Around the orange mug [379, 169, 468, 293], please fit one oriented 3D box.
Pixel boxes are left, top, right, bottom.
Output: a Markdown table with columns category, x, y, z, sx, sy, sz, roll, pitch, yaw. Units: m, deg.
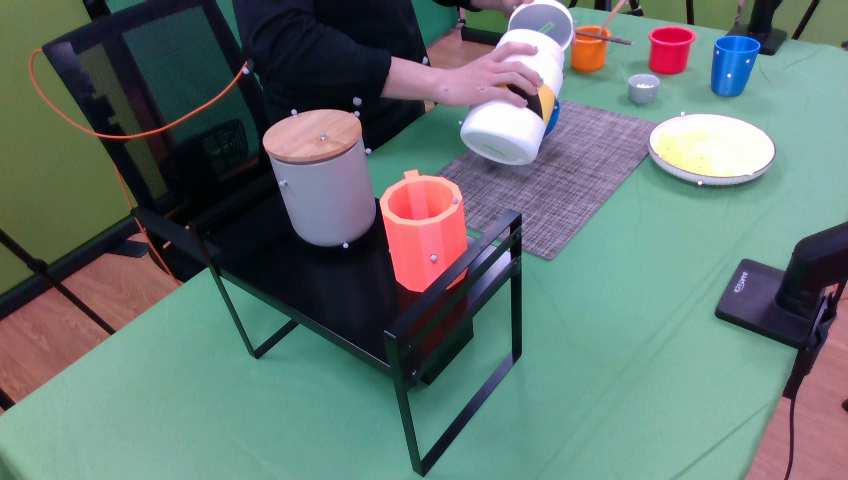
| category | x | y | z | sx | sy | sz | roll | pitch | yaw |
| --- | --- | --- | --- | --- | --- | --- | --- | --- | --- |
| orange mug | -0.002 | -0.019 | 0.665 | 0.083 | 0.101 | 0.125 | -12 | 45 | -4 |

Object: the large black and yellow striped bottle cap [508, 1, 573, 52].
| category | x | y | z | sx | sy | sz | roll | pitch | yaw |
| --- | --- | --- | --- | --- | --- | --- | --- | --- | --- |
| large black and yellow striped bottle cap | 0.208 | -0.372 | 1.081 | 0.114 | 0.115 | 0.018 | 4 | 55 | 13 |

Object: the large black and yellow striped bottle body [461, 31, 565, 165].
| category | x | y | z | sx | sy | sz | roll | pitch | yaw |
| --- | --- | --- | --- | --- | --- | --- | --- | --- | --- |
| large black and yellow striped bottle body | 0.149 | -0.230 | 0.984 | 0.130 | 0.132 | 0.183 | 16 | 80 | 26 |

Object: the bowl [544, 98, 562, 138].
| category | x | y | z | sx | sy | sz | roll | pitch | yaw |
| --- | --- | --- | --- | --- | --- | --- | --- | --- | --- |
| bowl | 0.187 | -0.223 | 1.161 | 0.151 | 0.077 | 0.150 | -4 | 40 | 4 |

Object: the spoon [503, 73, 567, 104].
| category | x | y | z | sx | sy | sz | roll | pitch | yaw |
| --- | --- | --- | --- | --- | --- | --- | --- | --- | --- |
| spoon | 0.250 | -0.336 | 1.332 | 0.194 | 0.022 | 0.041 | -32 | 32 | -25 |

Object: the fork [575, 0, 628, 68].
| category | x | y | z | sx | sy | sz | roll | pitch | yaw |
| --- | --- | --- | --- | --- | --- | --- | --- | --- | --- |
| fork | 0.413 | -0.481 | 1.377 | 0.207 | 0.019 | 0.028 | -57 | 43 | 12 |

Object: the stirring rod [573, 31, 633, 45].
| category | x | y | z | sx | sy | sz | roll | pitch | yaw |
| --- | --- | --- | --- | --- | --- | --- | --- | --- | --- |
| stirring rod | 0.381 | -0.452 | 1.345 | 0.174 | 0.006 | 0.014 | 25 | 49 | 33 |

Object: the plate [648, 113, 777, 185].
| category | x | y | z | sx | sy | sz | roll | pitch | yaw |
| --- | --- | --- | --- | --- | --- | --- | --- | --- | --- |
| plate | 0.506 | -0.158 | 1.073 | 0.209 | 0.038 | 0.208 | -5 | 40 | 4 |

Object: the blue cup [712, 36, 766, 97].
| category | x | y | z | sx | sy | sz | roll | pitch | yaw |
| --- | --- | --- | --- | --- | --- | --- | --- | --- | --- |
| blue cup | 0.627 | -0.350 | 1.227 | 0.092 | 0.100 | 0.092 | -4 | 39 | 4 |

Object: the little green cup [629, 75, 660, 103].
| category | x | y | z | sx | sy | sz | roll | pitch | yaw |
| --- | --- | --- | --- | --- | --- | --- | --- | --- | --- |
| little green cup | 0.457 | -0.314 | 1.260 | 0.061 | 0.039 | 0.061 | -4 | 40 | 4 |

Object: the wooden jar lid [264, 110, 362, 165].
| category | x | y | z | sx | sy | sz | roll | pitch | yaw |
| --- | --- | --- | --- | --- | --- | --- | --- | --- | --- |
| wooden jar lid | -0.122 | -0.112 | 0.673 | 0.108 | 0.021 | 0.108 | -4 | 37 | 4 |

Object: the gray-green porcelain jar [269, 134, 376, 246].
| category | x | y | z | sx | sy | sz | roll | pitch | yaw |
| --- | --- | --- | --- | --- | --- | --- | --- | --- | --- |
| gray-green porcelain jar | -0.115 | -0.064 | 0.715 | 0.106 | 0.127 | 0.105 | -4 | 40 | 4 |
